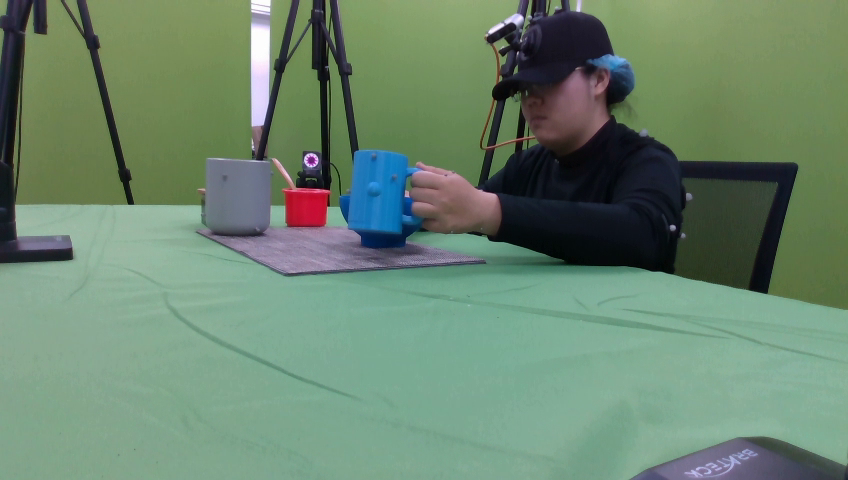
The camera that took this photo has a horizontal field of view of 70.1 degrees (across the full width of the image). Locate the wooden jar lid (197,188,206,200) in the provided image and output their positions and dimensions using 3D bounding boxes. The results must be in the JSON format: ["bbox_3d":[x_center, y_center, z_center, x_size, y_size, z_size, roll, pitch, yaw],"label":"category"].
[{"bbox_3d":[-0.382,-0.088,1.175,0.108,0.020,0.108,3,8,0],"label":"wooden jar lid"}]

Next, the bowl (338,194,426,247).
[{"bbox_3d":[-0.066,-0.031,0.984,0.151,0.077,0.151,2,8,0],"label":"bowl"}]

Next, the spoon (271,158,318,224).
[{"bbox_3d":[-0.268,-0.103,1.236,0.042,0.193,0.021,-10,-32,-39],"label":"spoon"}]

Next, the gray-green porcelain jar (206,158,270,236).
[{"bbox_3d":[-0.317,-0.074,1.031,0.106,0.126,0.106,3,7,0],"label":"gray-green porcelain jar"}]

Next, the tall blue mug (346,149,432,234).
[{"bbox_3d":[-0.050,-0.063,0.842,0.108,0.108,0.077,6,-3,-25],"label":"tall blue mug"}]
